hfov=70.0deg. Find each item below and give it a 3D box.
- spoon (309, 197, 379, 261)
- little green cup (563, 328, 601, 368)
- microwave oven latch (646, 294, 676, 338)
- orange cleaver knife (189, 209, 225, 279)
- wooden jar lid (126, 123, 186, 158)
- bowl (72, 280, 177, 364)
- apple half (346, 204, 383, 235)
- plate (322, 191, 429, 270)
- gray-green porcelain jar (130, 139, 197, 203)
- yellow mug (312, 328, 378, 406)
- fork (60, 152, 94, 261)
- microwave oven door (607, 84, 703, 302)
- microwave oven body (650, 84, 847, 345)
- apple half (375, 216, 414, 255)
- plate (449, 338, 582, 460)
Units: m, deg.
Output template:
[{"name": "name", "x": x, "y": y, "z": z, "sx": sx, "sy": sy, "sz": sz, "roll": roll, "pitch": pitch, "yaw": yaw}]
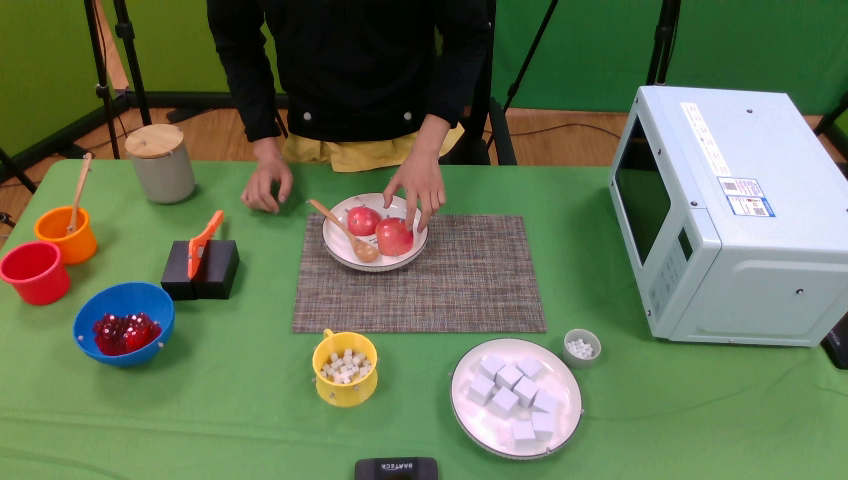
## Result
[{"name": "spoon", "x": -0.158, "y": -0.025, "z": 1.173, "sx": 0.041, "sy": 0.022, "sz": 0.193, "roll": -40, "pitch": 73, "yaw": -20}, {"name": "little green cup", "x": 0.265, "y": 0.185, "z": 1.025, "sx": 0.061, "sy": 0.039, "sz": 0.061, "roll": 1, "pitch": 45, "yaw": -1}, {"name": "microwave oven latch", "x": 0.413, "y": 0.133, "z": 1.061, "sx": 0.030, "sy": 0.029, "sz": 0.078, "roll": 4, "pitch": 46, "yaw": 1}, {"name": "orange cleaver knife", "x": -0.401, "y": 0.002, "z": 1.122, "sx": 0.012, "sy": 0.077, "sz": 0.210, "roll": 4, "pitch": 23, "yaw": -4}, {"name": "wooden jar lid", "x": -0.519, "y": -0.190, "z": 1.179, "sx": 0.108, "sy": 0.021, "sz": 0.107, "roll": 2, "pitch": 44, "yaw": -2}, {"name": "bowl", "x": -0.473, "y": 0.147, "z": 0.982, "sx": 0.151, "sy": 0.077, "sz": 0.150, "roll": 2, "pitch": 46, "yaw": -2}, {"name": "apple half", "x": -0.119, "y": -0.049, "z": 1.207, "sx": 0.081, "sy": 0.033, "sz": 0.081, "roll": 2, "pitch": 50, "yaw": -2}, {"name": "plate", "x": -0.093, "y": -0.015, "z": 1.185, "sx": 0.209, "sy": 0.038, "sz": 0.208, "roll": 2, "pitch": 46, "yaw": -2}, {"name": "gray-green porcelain jar", "x": -0.522, "y": -0.147, "z": 1.225, "sx": 0.106, "sy": 0.127, "sz": 0.105, "roll": 2, "pitch": 47, "yaw": -2}, {"name": "yellow mug", "x": -0.132, "y": 0.193, "z": 0.971, "sx": 0.100, "sy": 0.064, "sz": 0.130, "roll": -22, "pitch": 51, "yaw": -22}, {"name": "fork", "x": -0.637, "y": -0.063, "z": 1.119, "sx": 0.028, "sy": 0.019, "sz": 0.207, "roll": 11, "pitch": 90, "yaw": 16}, {"name": "microwave oven door", "x": 0.424, "y": -0.096, "z": 1.138, "sx": 0.039, "sy": 0.245, "sz": 0.353, "roll": 3, "pitch": 46, "yaw": -1}, {"name": "microwave oven body", "x": 0.569, "y": -0.054, "z": 1.116, "sx": 0.326, "sy": 0.261, "sz": 0.439, "roll": 2, "pitch": 46, "yaw": -1}, {"name": "apple half", "x": -0.056, "y": -0.016, "z": 1.169, "sx": 0.075, "sy": 0.053, "sz": 0.080, "roll": 1, "pitch": 46, "yaw": -7}, {"name": "plate", "x": 0.141, "y": 0.251, "z": 0.956, "sx": 0.208, "sy": 0.039, "sz": 0.206, "roll": 2, "pitch": 46, "yaw": -2}]
